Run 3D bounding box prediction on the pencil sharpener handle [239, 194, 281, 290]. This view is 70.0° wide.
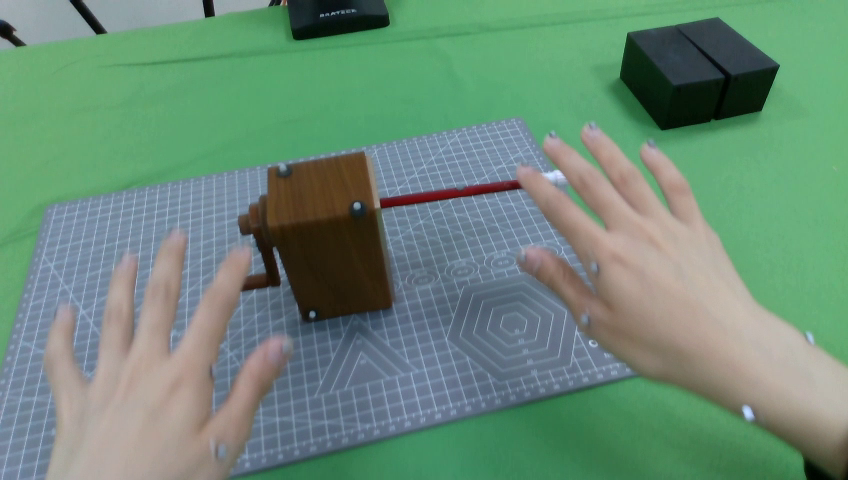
[{"bbox_3d":[-0.116,0.004,0.408,0.031,0.068,0.035,-10,28,-4],"label":"pencil sharpener handle"}]

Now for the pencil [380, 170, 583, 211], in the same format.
[{"bbox_3d":[0.015,-0.030,0.414,0.194,0.012,0.012,-9,46,-5],"label":"pencil"}]

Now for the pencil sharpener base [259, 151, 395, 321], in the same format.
[{"bbox_3d":[-0.066,0.001,0.425,0.077,0.108,0.060,-10,47,-4],"label":"pencil sharpener base"}]
